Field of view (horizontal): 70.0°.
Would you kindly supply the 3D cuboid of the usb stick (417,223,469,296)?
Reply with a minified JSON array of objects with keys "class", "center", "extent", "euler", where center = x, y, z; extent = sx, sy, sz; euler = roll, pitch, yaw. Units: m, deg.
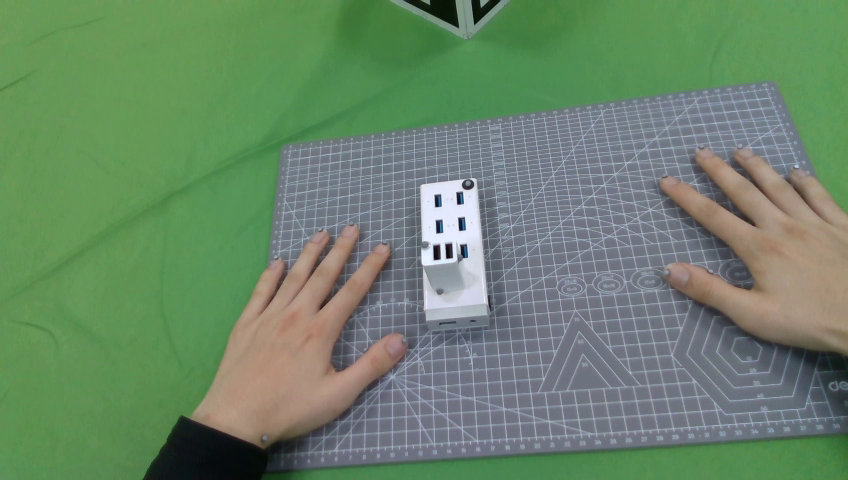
[{"class":"usb stick","center":[0.013,0.013,0.429],"extent":[0.027,0.060,0.021],"euler":[-28,50,-10]}]

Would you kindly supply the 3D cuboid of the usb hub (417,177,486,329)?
[{"class":"usb hub","center":[0.021,0.008,0.481],"extent":[0.049,0.025,0.124],"euler":[-5,60,6]}]
